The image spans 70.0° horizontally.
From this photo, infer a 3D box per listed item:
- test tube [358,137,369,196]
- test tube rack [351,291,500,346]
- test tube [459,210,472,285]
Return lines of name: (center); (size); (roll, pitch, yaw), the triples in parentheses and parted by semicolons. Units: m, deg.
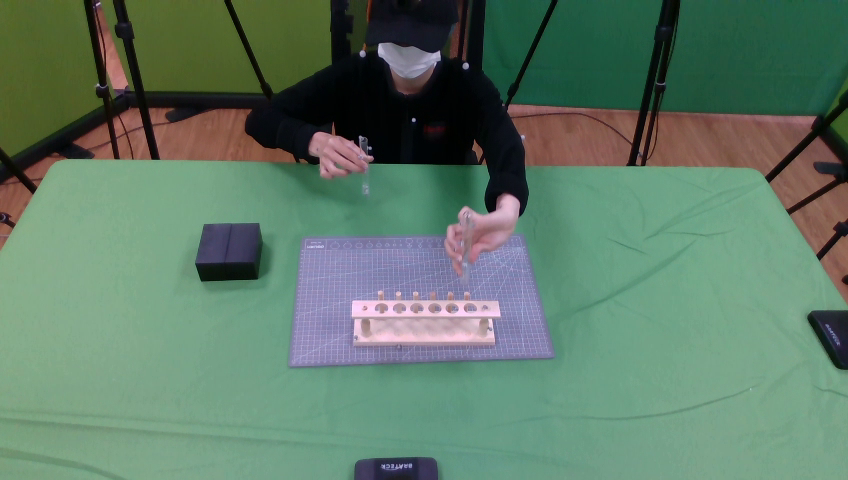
test tube: (-0.118, -0.140, 1.178); (0.017, 0.151, 0.017); (2, 51, -2)
test tube rack: (0.000, 0.129, 1.026); (0.242, 0.085, 0.066); (1, 46, -4)
test tube: (0.065, 0.014, 0.948); (0.017, 0.151, 0.017); (0, 42, 1)
